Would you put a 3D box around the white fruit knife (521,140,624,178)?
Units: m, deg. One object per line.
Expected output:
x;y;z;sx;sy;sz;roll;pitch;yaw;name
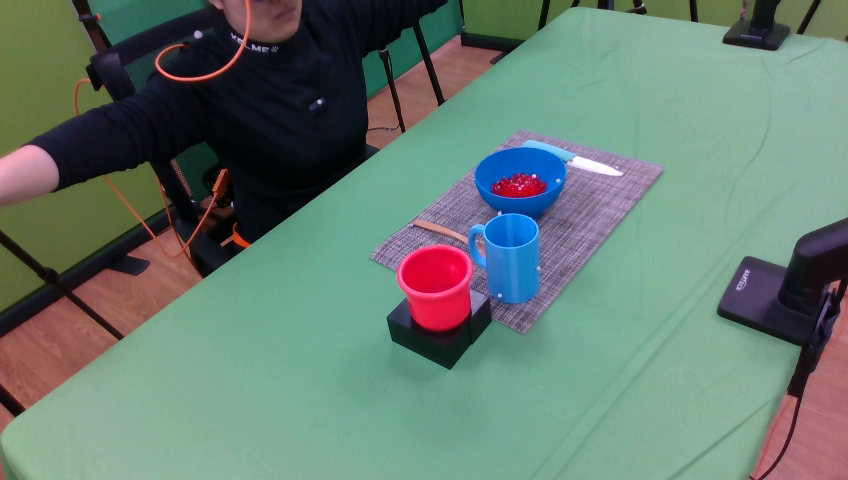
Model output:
0.270;-0.149;1.110;0.206;0.016;0.027;25;80;32;white fruit knife

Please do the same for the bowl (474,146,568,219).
0.161;-0.083;1.000;0.151;0.077;0.150;-5;40;5;bowl

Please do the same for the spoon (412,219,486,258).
0.054;-0.005;0.971;0.192;0.022;0.041;25;68;33;spoon

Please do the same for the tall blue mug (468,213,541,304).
0.111;0.026;0.856;0.107;0.108;0.077;2;42;13;tall blue mug
